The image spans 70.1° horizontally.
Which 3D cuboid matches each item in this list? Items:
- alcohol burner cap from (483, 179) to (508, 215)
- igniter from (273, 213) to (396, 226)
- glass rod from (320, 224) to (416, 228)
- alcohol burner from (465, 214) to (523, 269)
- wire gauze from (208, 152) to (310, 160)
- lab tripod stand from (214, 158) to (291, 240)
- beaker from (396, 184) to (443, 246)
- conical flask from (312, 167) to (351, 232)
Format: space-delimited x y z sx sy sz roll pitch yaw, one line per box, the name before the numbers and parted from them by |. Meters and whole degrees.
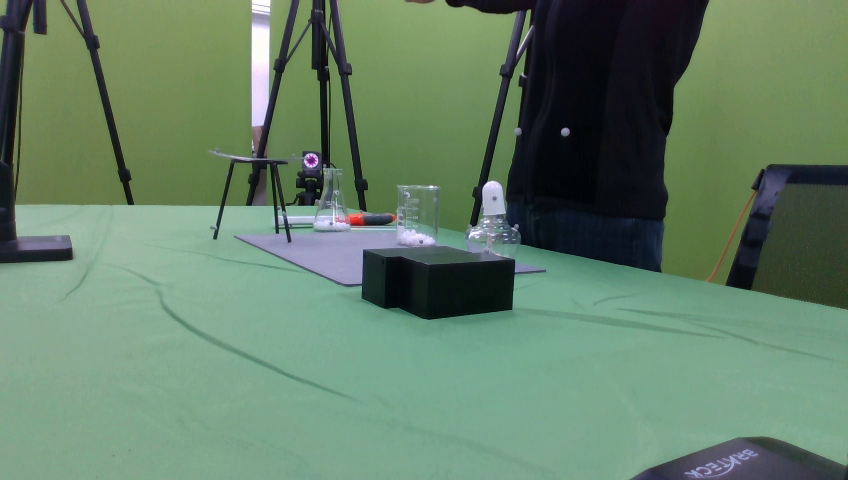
alcohol burner cap | 0.094 -0.057 0.810 0.034 0.048 0.034 -8 6 1
igniter | -0.178 -0.043 1.258 0.278 0.025 0.057 -3 -1 -39
glass rod | -0.113 -0.029 1.236 0.200 0.008 0.008 -1 7 -18
alcohol burner | 0.094 -0.022 0.815 0.078 0.119 0.078 0 7 0
wire gauze | -0.270 -0.135 0.993 0.124 0.011 0.122 9 8 41
lab tripod stand | -0.268 -0.068 1.002 0.148 0.131 0.148 3 6 0
beaker | -0.011 -0.043 1.004 0.083 0.100 0.074 8 9 39
conical flask | -0.176 -0.078 1.162 0.075 0.122 0.075 3 7 0
